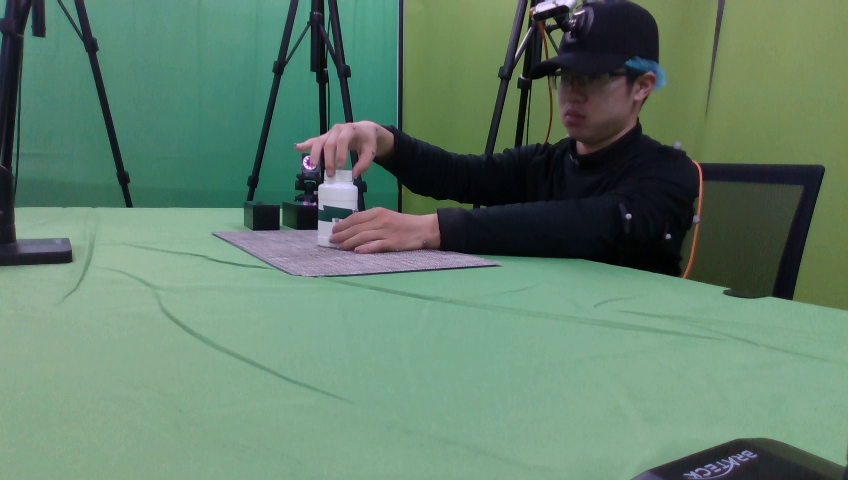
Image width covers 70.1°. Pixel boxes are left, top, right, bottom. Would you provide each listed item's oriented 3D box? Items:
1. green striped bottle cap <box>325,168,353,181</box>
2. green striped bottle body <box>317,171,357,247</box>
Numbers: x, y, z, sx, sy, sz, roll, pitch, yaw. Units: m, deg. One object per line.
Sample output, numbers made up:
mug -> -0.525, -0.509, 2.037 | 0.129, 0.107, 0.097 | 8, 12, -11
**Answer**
green striped bottle cap -> -0.135, -0.104, 0.960 | 0.044, 0.020, 0.044 | -1, 9, 1
green striped bottle body -> -0.139, -0.051, 0.964 | 0.063, 0.119, 0.063 | 2, 7, 0
